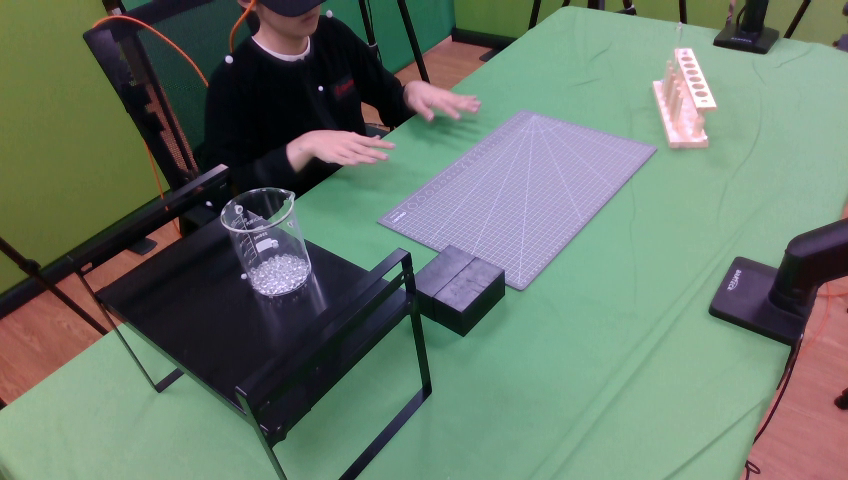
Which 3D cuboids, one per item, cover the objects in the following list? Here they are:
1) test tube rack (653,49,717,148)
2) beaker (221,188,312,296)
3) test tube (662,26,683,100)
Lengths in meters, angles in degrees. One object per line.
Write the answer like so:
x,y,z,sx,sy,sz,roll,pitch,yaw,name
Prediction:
0.502,-0.281,1.177,0.066,0.085,0.241,1,41,10,test tube rack
-0.165,0.003,0.659,0.073,0.101,0.084,28,51,34,beaker
0.485,-0.343,1.182,0.017,0.151,0.017,-4,41,4,test tube
